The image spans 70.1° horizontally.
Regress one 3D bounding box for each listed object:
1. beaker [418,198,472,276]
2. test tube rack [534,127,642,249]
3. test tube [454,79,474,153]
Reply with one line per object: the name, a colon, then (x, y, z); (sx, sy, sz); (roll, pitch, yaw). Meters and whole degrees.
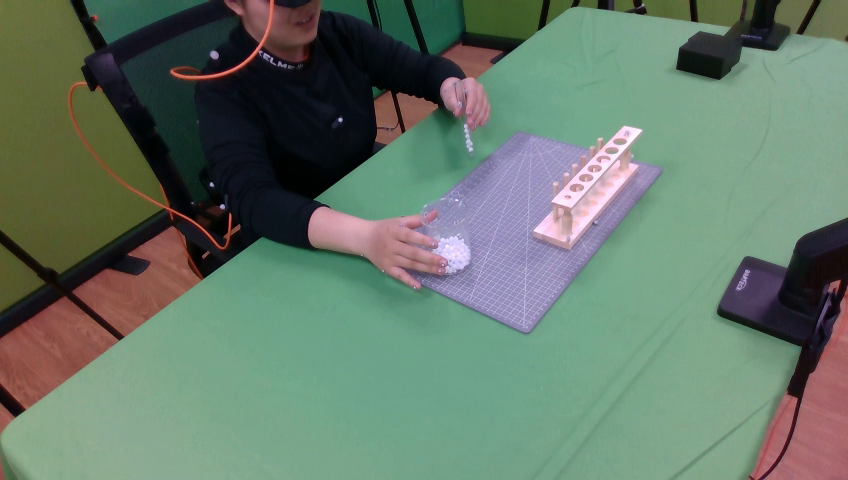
beaker: (0.037, -0.004, 0.916); (0.073, 0.101, 0.084); (24, 49, 33)
test tube rack: (0.271, -0.094, 0.990); (0.066, 0.085, 0.243); (23, 49, 33)
test tube: (0.073, -0.220, 1.091); (0.017, 0.151, 0.017); (-8, 42, 8)
